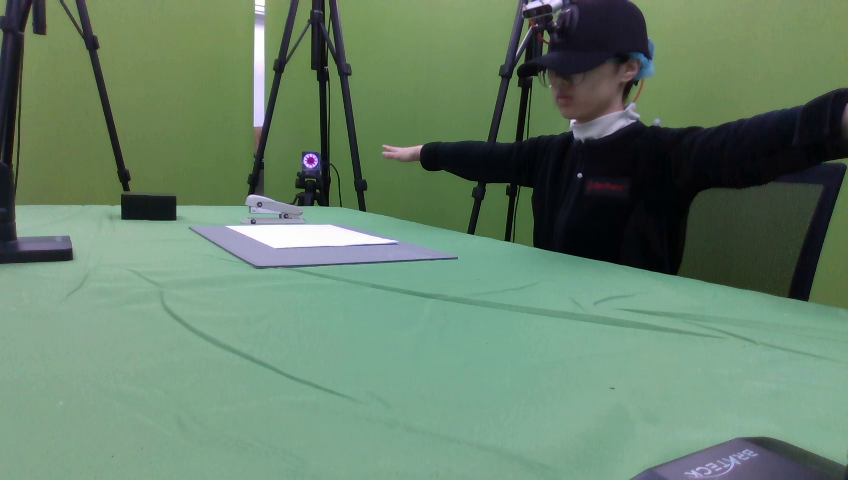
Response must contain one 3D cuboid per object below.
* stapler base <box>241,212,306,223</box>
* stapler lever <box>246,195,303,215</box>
[{"bbox_3d":[-0.316,-0.048,1.272,0.131,0.024,0.041,0,10,-31],"label":"stapler base"},{"bbox_3d":[-0.313,-0.073,1.270,0.119,0.040,0.026,0,10,-31],"label":"stapler lever"}]
